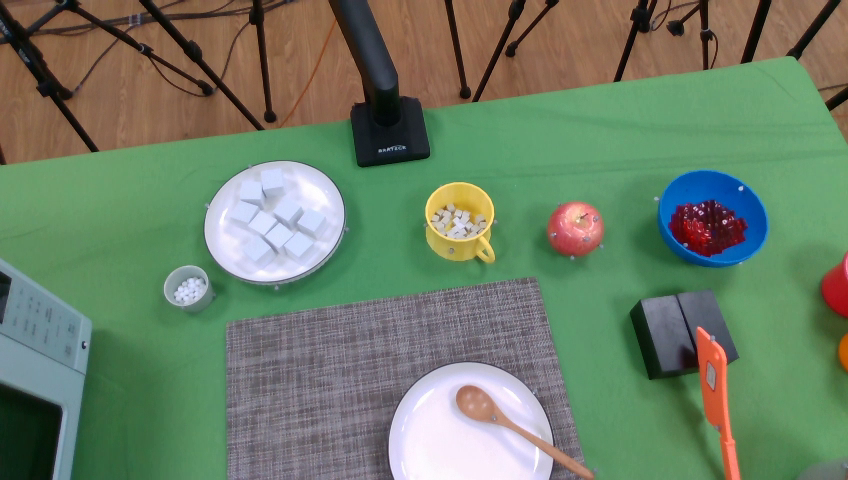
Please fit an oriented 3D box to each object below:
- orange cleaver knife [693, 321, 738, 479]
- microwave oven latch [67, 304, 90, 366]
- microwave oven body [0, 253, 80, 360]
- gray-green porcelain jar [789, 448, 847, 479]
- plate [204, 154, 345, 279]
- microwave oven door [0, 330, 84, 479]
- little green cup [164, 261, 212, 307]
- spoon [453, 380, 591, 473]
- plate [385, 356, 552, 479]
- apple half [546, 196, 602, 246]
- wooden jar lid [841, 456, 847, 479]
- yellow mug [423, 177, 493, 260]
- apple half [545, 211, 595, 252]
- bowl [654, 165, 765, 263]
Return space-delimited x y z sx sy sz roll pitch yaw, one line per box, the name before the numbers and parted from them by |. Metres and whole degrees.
orange cleaver knife | 0.365 0.208 0.762 0.012 0.077 0.212 -11 97 -1
microwave oven latch | -0.471 0.128 0.812 0.030 0.030 0.078 -4 65 -2
microwave oven body | -0.603 0.257 0.644 0.326 0.262 0.438 -5 65 -3
gray-green porcelain jar | 0.497 0.298 0.699 0.106 0.127 0.105 0 64 0
plate | -0.221 -0.034 0.910 0.208 0.039 0.206 0 64 0
microwave oven door | -0.453 0.279 0.627 0.039 0.245 0.352 -6 64 -2
little green cup | -0.333 0.065 0.861 0.061 0.039 0.061 1 65 -1
spoon | 0.120 0.235 0.761 0.192 0.022 0.041 27 62 25
plate | 0.055 0.252 0.768 0.209 0.038 0.207 0 65 0
apple half | 0.224 -0.031 0.888 0.080 0.075 0.053 29 65 17
wooden jar lid | 0.495 0.269 0.643 0.108 0.021 0.107 0 67 0
yellow mug | 0.058 -0.023 0.888 0.100 0.064 0.130 -35 70 -16
apple half | 0.203 -0.002 0.873 0.081 0.082 0.032 31 65 14
bowl | 0.401 -0.026 0.881 0.151 0.077 0.150 0 65 1
